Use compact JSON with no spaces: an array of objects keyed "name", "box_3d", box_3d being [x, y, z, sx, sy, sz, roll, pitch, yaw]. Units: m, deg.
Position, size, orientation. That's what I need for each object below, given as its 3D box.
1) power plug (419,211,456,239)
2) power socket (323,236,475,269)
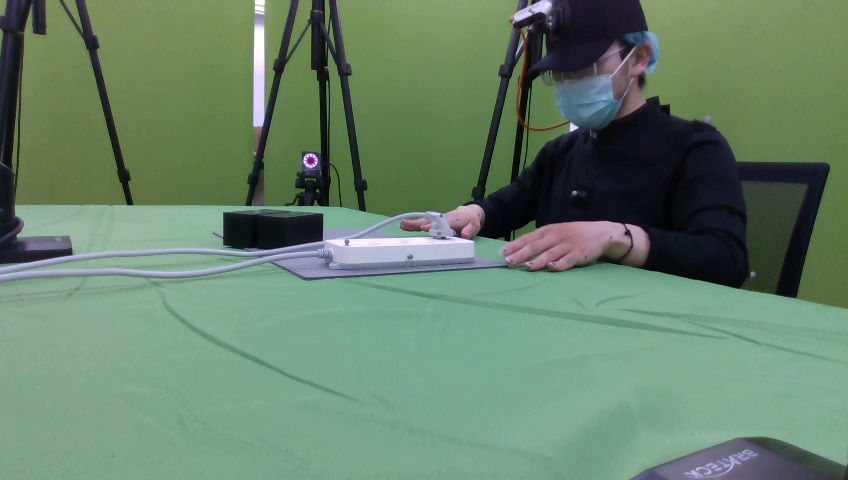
[{"name":"power plug","box_3d":[0.020,-0.015,0.884,0.035,0.052,0.072,-1,7,-20]},{"name":"power socket","box_3d":[-0.030,0.014,0.823,0.228,0.032,0.072,-2,8,-31]}]
